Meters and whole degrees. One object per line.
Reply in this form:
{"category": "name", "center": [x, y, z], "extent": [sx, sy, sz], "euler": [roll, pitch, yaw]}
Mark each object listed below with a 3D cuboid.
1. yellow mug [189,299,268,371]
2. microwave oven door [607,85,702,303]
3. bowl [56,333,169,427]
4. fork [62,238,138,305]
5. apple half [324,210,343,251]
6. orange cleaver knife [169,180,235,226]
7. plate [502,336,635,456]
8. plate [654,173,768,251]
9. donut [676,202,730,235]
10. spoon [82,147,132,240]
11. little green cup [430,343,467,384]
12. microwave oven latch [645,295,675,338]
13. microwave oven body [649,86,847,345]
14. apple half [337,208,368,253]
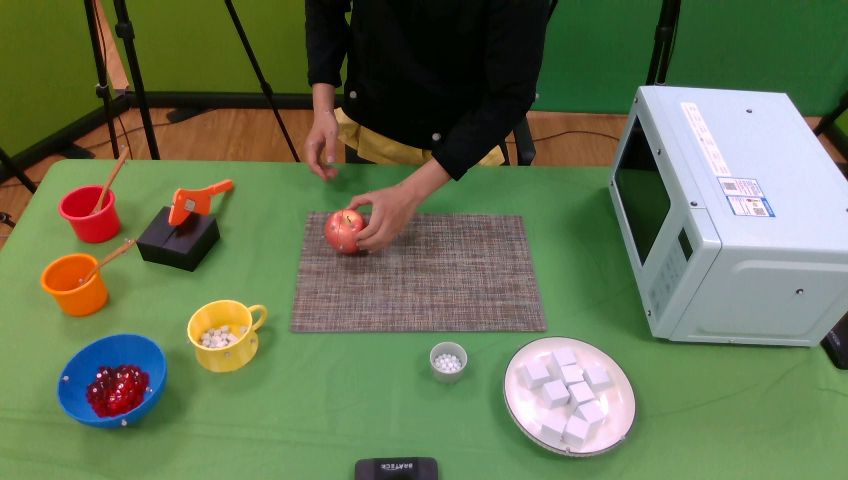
{"category": "yellow mug", "center": [-0.316, 0.148, 1.002], "extent": [0.131, 0.064, 0.099], "euler": [-33, 56, -31]}
{"category": "microwave oven door", "center": [0.423, -0.094, 1.140], "extent": [0.039, 0.245, 0.353], "euler": [2, 46, -1]}
{"category": "bowl", "center": [-0.456, 0.223, 0.911], "extent": [0.151, 0.077, 0.150], "euler": [3, 45, -2]}
{"category": "fork", "center": [-0.547, 0.053, 1.018], "extent": [0.207, 0.019, 0.028], "euler": [-36, 41, 23]}
{"category": "apple half", "center": [-0.172, -0.017, 1.146], "extent": [0.033, 0.081, 0.081], "euler": [8, 46, -3]}
{"category": "orange cleaver knife", "center": [-0.436, -0.076, 1.199], "extent": [0.012, 0.077, 0.211], "euler": [17, 17, 9]}
{"category": "plate", "center": [0.225, 0.248, 0.963], "extent": [0.208, 0.039, 0.206], "euler": [2, 46, -2]}
{"category": "plate", "center": [0.556, -0.050, 1.187], "extent": [0.209, 0.038, 0.208], "euler": [1, 46, -1]}
{"category": "donut", "center": [0.538, -0.043, 1.170], "extent": [0.099, 0.048, 0.098], "euler": [5, 27, -2]}
{"category": "spoon", "center": [-0.602, -0.089, 1.156], "extent": [0.041, 0.022, 0.194], "euler": [28, 95, 21]}
{"category": "little green cup", "center": [0.039, 0.203, 0.994], "extent": [0.061, 0.039, 0.061], "euler": [2, 46, -2]}
{"category": "microwave oven latch", "center": [0.412, 0.134, 1.062], "extent": [0.030, 0.029, 0.078], "euler": [3, 45, 0]}
{"category": "microwave oven body", "center": [0.568, -0.053, 1.118], "extent": [0.326, 0.261, 0.439], "euler": [2, 45, -1]}
{"category": "apple half", "center": [-0.134, -0.015, 1.148], "extent": [0.053, 0.075, 0.080], "euler": [8, 44, -4]}
